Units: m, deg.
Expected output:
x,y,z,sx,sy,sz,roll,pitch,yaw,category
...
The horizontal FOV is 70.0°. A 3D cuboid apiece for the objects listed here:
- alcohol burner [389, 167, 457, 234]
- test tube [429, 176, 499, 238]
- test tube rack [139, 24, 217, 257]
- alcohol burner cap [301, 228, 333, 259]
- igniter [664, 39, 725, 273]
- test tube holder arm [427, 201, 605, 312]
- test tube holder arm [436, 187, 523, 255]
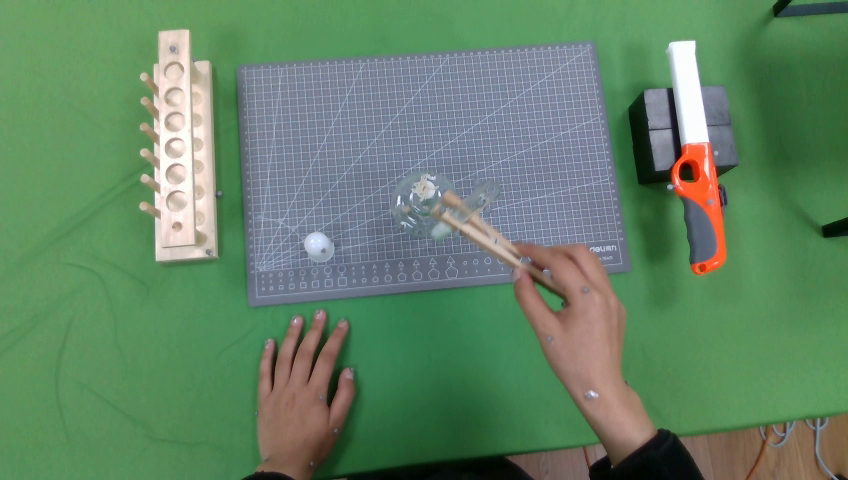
x,y,z,sx,sy,sz,roll,pitch,yaw,category
0.000,-0.048,0.668,0.078,0.119,0.077,0,81,-2,alcohol burner
0.029,-0.024,0.506,0.017,0.150,0.017,3,77,-14,test tube
-0.281,-0.108,0.681,0.067,0.085,0.241,-5,80,-3,test tube rack
-0.123,0.001,0.689,0.034,0.048,0.033,0,78,-2,alcohol burner cap
0.307,-0.100,0.693,0.057,0.025,0.275,-3,79,3,igniter
0.082,0.016,0.522,0.179,0.015,0.013,32,69,-10,test tube holder arm
0.048,-0.013,0.517,0.088,0.015,0.010,40,68,-7,test tube holder arm
